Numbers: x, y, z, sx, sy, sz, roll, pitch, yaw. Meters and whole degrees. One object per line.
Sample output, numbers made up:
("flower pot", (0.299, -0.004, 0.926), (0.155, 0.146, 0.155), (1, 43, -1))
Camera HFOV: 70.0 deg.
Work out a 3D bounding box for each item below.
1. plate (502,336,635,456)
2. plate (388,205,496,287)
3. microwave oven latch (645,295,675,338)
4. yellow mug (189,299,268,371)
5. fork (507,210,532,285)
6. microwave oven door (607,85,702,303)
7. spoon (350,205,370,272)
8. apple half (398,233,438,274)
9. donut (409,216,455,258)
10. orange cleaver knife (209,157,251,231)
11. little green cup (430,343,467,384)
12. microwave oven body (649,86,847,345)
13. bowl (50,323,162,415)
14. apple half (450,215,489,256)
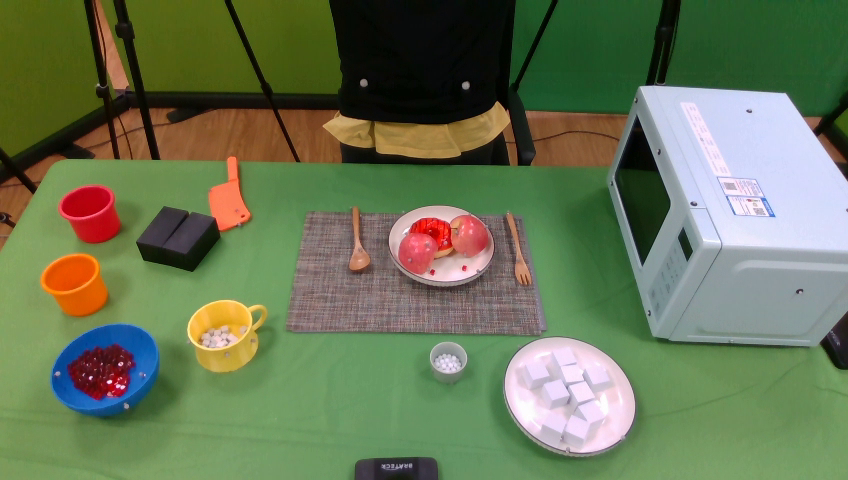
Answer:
("plate", (0.225, 0.248, 0.964), (0.208, 0.039, 0.206), (2, 46, -2))
("plate", (0.033, 0.014, 1.171), (0.209, 0.038, 0.208), (2, 46, -2))
("microwave oven latch", (0.412, 0.134, 1.061), (0.030, 0.029, 0.078), (3, 45, 0))
("yellow mug", (-0.316, 0.148, 1.002), (0.131, 0.064, 0.099), (-32, 56, -31))
("fork", (0.185, 0.011, 1.196), (0.028, 0.019, 0.206), (-5, 48, 0))
("microwave oven door", (0.423, -0.094, 1.140), (0.039, 0.245, 0.353), (2, 46, -1))
("spoon", (-0.130, -0.008, 1.190), (0.041, 0.022, 0.192), (-22, 47, 11))
("apple half", (-0.016, 0.022, 1.123), (0.081, 0.033, 0.081), (-2, 83, 14))
("donut", (0.020, -0.007, 1.174), (0.099, 0.048, 0.098), (2, 44, -2))
("orange cleaver knife", (-0.409, -0.099, 1.266), (0.077, 0.012, 0.210), (-14, 50, -10))
("little green cup", (0.039, 0.203, 0.993), (0.061, 0.039, 0.061), (2, 46, -2))
("microwave oven body", (0.568, -0.053, 1.118), (0.326, 0.261, 0.439), (2, 45, -1))
("bowl", (-0.472, 0.209, 0.924), (0.151, 0.077, 0.150), (3, 45, -2))
("apple half", (0.092, -0.013, 1.158), (0.075, 0.053, 0.080), (34, 39, -28))
